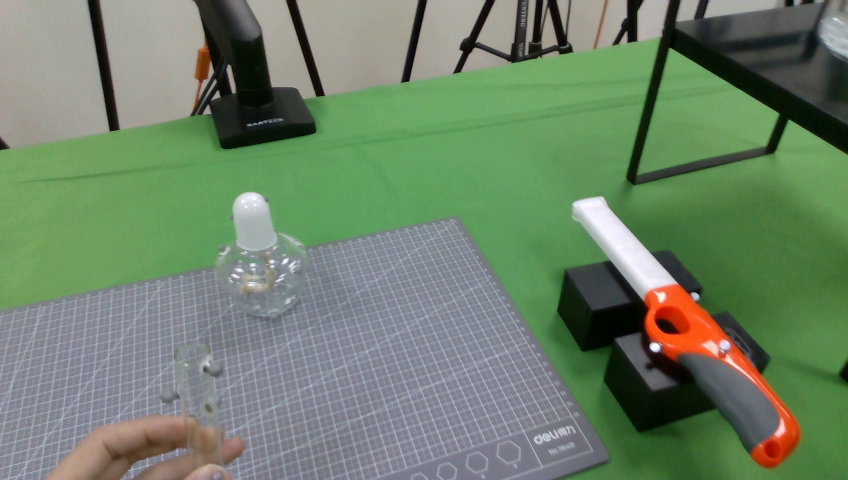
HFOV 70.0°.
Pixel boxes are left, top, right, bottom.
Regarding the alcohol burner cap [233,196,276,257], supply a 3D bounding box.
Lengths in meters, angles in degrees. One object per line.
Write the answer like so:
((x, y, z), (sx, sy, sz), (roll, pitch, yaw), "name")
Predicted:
((-0.140, -0.014, 0.495), (0.034, 0.048, 0.033), (3, 38, -2), "alcohol burner cap")

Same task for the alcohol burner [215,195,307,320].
((-0.140, 0.011, 0.514), (0.078, 0.120, 0.077), (2, 40, -1), "alcohol burner")

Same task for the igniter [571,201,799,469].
((0.186, 0.052, 0.467), (0.057, 0.025, 0.273), (-11, 39, -9), "igniter")

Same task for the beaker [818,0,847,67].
((0.344, -0.182, 0.443), (0.084, 0.101, 0.073), (11, 45, 10), "beaker")

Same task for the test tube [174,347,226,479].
((-0.106, 0.116, 0.298), (0.017, 0.151, 0.017), (4, 28, -2), "test tube")
